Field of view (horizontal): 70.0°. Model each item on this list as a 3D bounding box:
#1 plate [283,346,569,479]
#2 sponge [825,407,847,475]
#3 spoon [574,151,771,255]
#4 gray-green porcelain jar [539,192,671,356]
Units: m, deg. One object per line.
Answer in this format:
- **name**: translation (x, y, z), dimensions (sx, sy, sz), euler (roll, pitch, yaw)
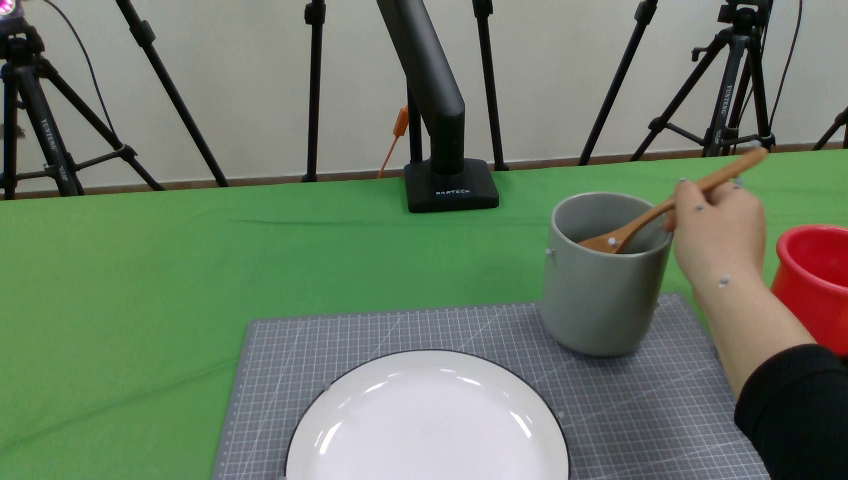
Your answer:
- **plate**: translation (0.002, 0.167, 0.457), dimensions (0.208, 0.039, 0.205), euler (-1, 35, 1)
- **sponge**: translation (0.393, 0.194, 0.394), dimensions (0.118, 0.061, 0.204), euler (-6, 35, -7)
- **spoon**: translation (0.197, -0.020, 0.513), dimensions (0.194, 0.022, 0.041), euler (-35, 35, 24)
- **gray-green porcelain jar**: translation (0.162, 0.036, 0.563), dimensions (0.106, 0.127, 0.105), euler (-1, 35, 1)
